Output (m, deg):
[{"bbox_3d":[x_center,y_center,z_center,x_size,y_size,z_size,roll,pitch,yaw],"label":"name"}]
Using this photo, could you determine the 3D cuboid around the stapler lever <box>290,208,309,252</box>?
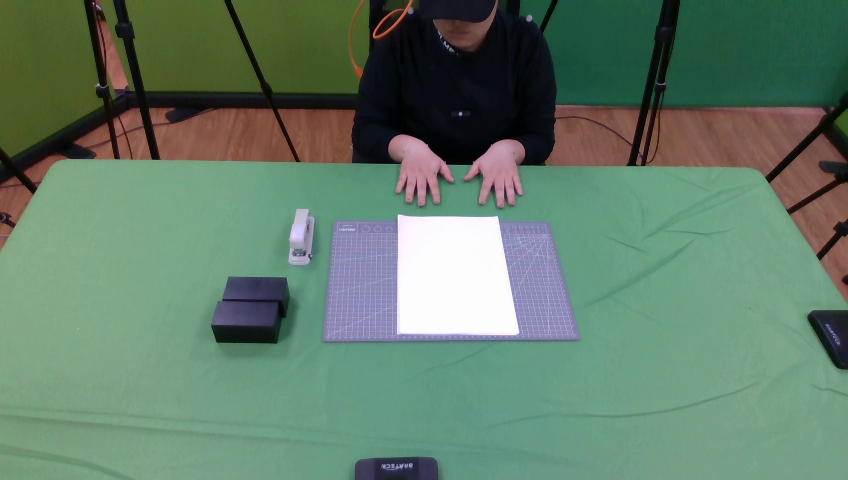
[{"bbox_3d":[-0.240,-0.026,1.168,0.027,0.040,0.117,1,44,-6],"label":"stapler lever"}]

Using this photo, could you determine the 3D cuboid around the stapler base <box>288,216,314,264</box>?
[{"bbox_3d":[-0.241,-0.007,1.185,0.041,0.024,0.129,1,44,-6],"label":"stapler base"}]
